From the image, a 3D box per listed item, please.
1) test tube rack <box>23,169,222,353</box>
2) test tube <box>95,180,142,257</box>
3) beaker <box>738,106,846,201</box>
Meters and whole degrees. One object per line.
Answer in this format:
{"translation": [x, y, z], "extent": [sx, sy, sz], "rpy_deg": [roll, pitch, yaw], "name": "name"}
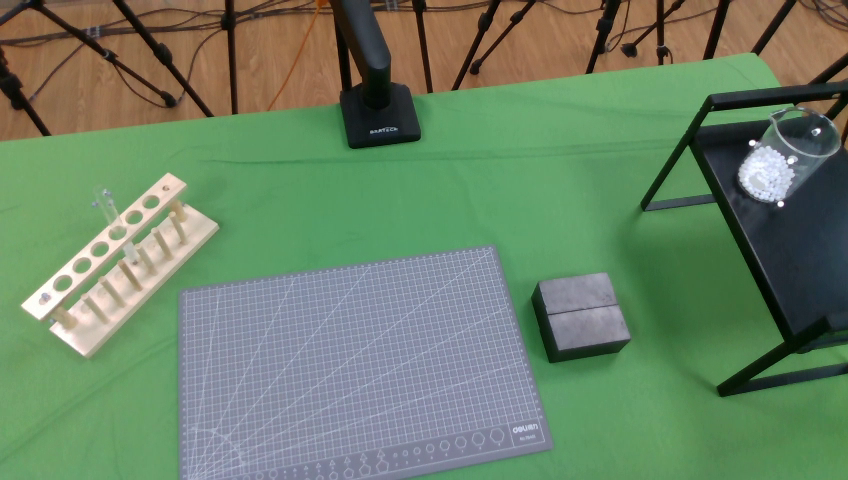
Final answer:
{"translation": [-0.387, 0.024, 0.803], "extent": [0.066, 0.086, 0.241], "rpy_deg": [31, 63, 14], "name": "test tube rack"}
{"translation": [-0.387, -0.024, 0.773], "extent": [0.017, 0.151, 0.017], "rpy_deg": [4, 55, -5], "name": "test tube"}
{"translation": [0.427, -0.100, 0.720], "extent": [0.083, 0.101, 0.074], "rpy_deg": [37, 64, 17], "name": "beaker"}
